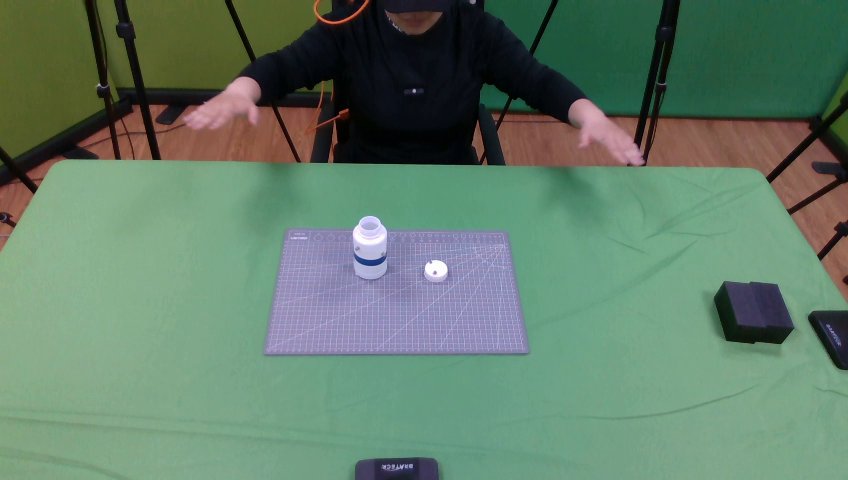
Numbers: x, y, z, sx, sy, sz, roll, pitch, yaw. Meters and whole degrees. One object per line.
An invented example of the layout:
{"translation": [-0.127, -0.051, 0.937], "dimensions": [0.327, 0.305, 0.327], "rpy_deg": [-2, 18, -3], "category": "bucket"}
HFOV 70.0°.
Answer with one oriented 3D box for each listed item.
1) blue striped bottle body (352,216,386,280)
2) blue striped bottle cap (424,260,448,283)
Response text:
{"translation": [-0.100, 0.012, 1.107], "dimensions": [0.063, 0.121, 0.062], "rpy_deg": [2, 46, -2], "category": "blue striped bottle body"}
{"translation": [0.022, 0.059, 1.145], "dimensions": [0.044, 0.021, 0.044], "rpy_deg": [2, 47, -1], "category": "blue striped bottle cap"}
